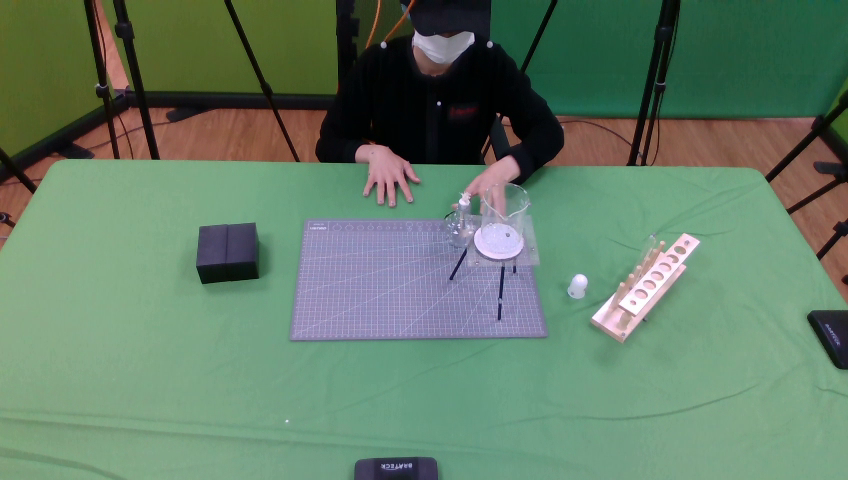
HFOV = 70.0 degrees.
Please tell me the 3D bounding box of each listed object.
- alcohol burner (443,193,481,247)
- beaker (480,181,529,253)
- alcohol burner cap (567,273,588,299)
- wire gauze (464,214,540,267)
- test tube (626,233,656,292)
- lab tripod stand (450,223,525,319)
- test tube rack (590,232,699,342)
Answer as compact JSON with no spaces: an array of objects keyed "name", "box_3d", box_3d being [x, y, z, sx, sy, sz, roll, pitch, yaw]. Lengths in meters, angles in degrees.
[{"name":"alcohol burner","box_3d":[0.075,-0.044,1.177,0.078,0.120,0.077,2,45,-1]},{"name":"beaker","box_3d":[0.130,-0.033,0.998,0.074,0.101,0.083,5,47,4]},{"name":"alcohol burner cap","box_3d":[0.287,0.083,1.125,0.034,0.048,0.033,2,45,-1]},{"name":"wire gauze","box_3d":[0.131,-0.001,1.034,0.121,0.011,0.124,1,44,-2]},{"name":"test tube","box_3d":[0.384,0.042,1.079,0.017,0.151,0.017,1,47,-1]},{"name":"lab tripod stand","box_3d":[0.120,0.046,1.080,0.148,0.132,0.147,1,47,-1]},{"name":"test tube rack","box_3d":[0.407,0.074,1.112,0.066,0.085,0.242,35,53,26]}]
